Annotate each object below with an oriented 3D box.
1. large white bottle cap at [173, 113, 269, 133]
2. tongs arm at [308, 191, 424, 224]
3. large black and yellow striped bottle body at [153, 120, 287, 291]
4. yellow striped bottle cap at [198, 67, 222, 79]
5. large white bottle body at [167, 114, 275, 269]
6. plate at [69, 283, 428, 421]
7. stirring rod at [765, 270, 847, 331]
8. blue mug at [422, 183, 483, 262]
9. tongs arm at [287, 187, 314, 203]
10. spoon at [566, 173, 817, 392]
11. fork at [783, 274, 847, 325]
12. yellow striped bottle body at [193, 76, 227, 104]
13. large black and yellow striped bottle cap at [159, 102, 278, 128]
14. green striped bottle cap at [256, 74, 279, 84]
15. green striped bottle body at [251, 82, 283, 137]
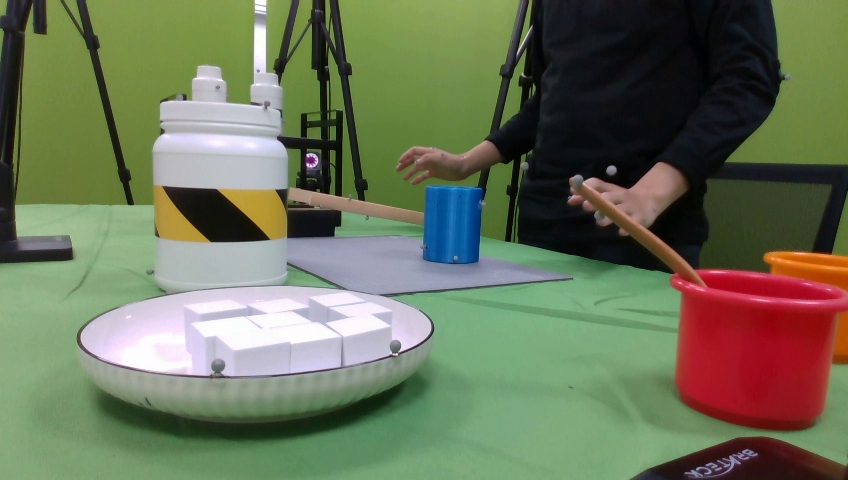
[{"bbox_3d":[-0.254,-0.146,0.760,0.115,0.018,0.115,1,7,0],"label":"large white bottle cap"},{"bbox_3d":[-0.048,-0.051,1.170,0.387,0.026,0.050,9,1,-32],"label":"tongs arm"},{"bbox_3d":[-0.208,-0.042,0.626,0.131,0.184,0.130,2,7,0],"label":"large black and yellow striped bottle body"},{"bbox_3d":[-0.412,-0.320,1.163,0.044,0.018,0.044,1,6,0],"label":"yellow striped bottle cap"},{"bbox_3d":[-0.256,-0.063,0.771,0.131,0.184,0.130,2,7,0],"label":"large white bottle body"},{"bbox_3d":[-0.102,0.066,0.381,0.208,0.039,0.207,2,7,0],"label":"plate"},{"bbox_3d":[0.352,0.020,0.484,0.176,0.006,0.014,-40,-7,13],"label":"stirring rod"},{"bbox_3d":[0.032,-0.028,0.877,0.083,0.106,0.116,-2,8,-31],"label":"blue mug"},{"bbox_3d":[-0.084,-0.061,1.243,0.389,0.027,0.028,10,-3,-19],"label":"tongs arm"},{"bbox_3d":[0.161,0.024,0.370,0.193,0.021,0.042,47,18,3],"label":"spoon"},{"bbox_3d":[0.332,0.018,0.443,0.028,0.018,0.207,-1,-36,-15],"label":"fork"},{"bbox_3d":[-0.414,-0.268,1.169,0.063,0.120,0.063,2,7,0],"label":"yellow striped bottle body"},{"bbox_3d":[-0.207,-0.125,0.615,0.115,0.019,0.115,2,6,0],"label":"large black and yellow striped bottle cap"},{"bbox_3d":[-0.314,-0.322,1.214,0.044,0.020,0.044,2,8,0],"label":"green striped bottle cap"},{"bbox_3d":[-0.317,-0.270,1.220,0.063,0.119,0.063,2,7,0],"label":"green striped bottle body"}]
